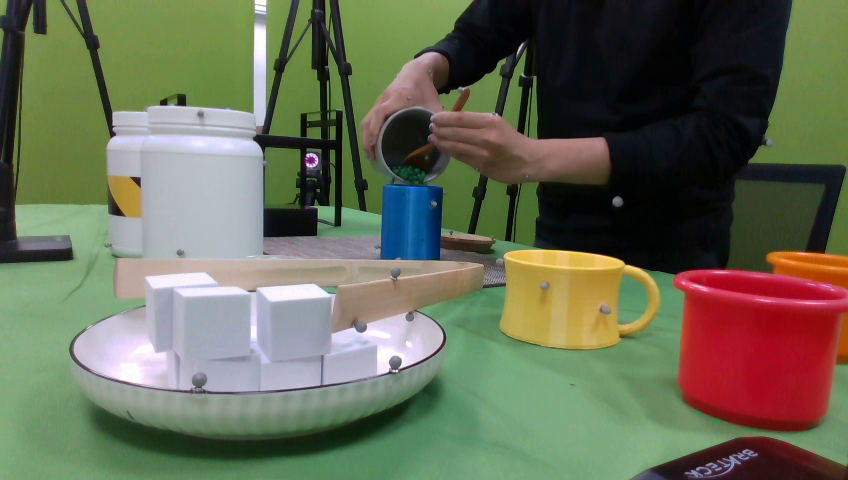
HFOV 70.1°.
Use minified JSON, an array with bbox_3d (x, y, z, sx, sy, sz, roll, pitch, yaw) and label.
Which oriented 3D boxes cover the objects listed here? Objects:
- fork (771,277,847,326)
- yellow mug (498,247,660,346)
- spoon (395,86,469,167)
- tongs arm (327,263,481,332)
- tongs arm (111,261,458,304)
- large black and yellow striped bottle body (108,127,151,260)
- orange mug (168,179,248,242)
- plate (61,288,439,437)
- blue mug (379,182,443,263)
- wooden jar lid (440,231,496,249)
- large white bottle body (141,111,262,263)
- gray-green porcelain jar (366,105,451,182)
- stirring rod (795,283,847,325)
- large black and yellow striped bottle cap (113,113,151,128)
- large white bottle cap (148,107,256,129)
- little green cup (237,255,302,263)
[{"bbox_3d":[0.335,0.018,0.443,0.028,0.018,0.207,-1,-36,-20],"label":"fork"},{"bbox_3d":[0.130,0.045,0.508,0.131,0.064,0.100,4,7,6],"label":"yellow mug"},{"bbox_3d":[0.012,-0.149,0.819,0.042,0.021,0.193,14,-25,-23],"label":"spoon"},{"bbox_3d":[-0.003,0.036,0.493,0.050,0.026,0.386,1,0,19],"label":"tongs arm"},{"bbox_3d":[-0.080,0.032,0.527,0.028,0.027,0.389,-3,-3,33],"label":"tongs arm"},{"bbox_3d":[-0.350,-0.071,0.812,0.131,0.184,0.130,2,7,0],"label":"large black and yellow striped bottle body"},{"bbox_3d":[-0.351,-0.050,0.986,0.126,0.101,0.083,-3,8,-9],"label":"orange mug"},{"bbox_3d":[-0.095,0.069,0.362,0.208,0.039,0.207,3,7,0],"label":"plate"},{"bbox_3d":[-0.019,-0.026,0.833,0.082,0.106,0.116,1,7,-7],"label":"blue mug"},{"bbox_3d":[0.066,0.000,1.011,0.108,0.020,0.108,6,7,0],"label":"wooden jar lid"},{"bbox_3d":[-0.254,-0.053,0.697,0.131,0.184,0.130,2,7,0],"label":"large white bottle body"},{"bbox_3d":[-0.027,-0.138,0.883,0.106,0.106,0.126,0,6,-14],"label":"gray-green porcelain jar"},{"bbox_3d":[0.346,0.019,0.460,0.014,0.176,0.006,-17,59,-26],"label":"stirring rod"},{"bbox_3d":[-0.348,-0.154,0.800,0.115,0.019,0.115,2,6,0],"label":"large black and yellow striped bottle cap"},{"bbox_3d":[-0.250,-0.137,0.686,0.115,0.018,0.115,2,8,0],"label":"large white bottle cap"},{"bbox_3d":[-0.150,0.038,0.590,0.061,0.038,0.061,3,7,0],"label":"little green cup"}]
